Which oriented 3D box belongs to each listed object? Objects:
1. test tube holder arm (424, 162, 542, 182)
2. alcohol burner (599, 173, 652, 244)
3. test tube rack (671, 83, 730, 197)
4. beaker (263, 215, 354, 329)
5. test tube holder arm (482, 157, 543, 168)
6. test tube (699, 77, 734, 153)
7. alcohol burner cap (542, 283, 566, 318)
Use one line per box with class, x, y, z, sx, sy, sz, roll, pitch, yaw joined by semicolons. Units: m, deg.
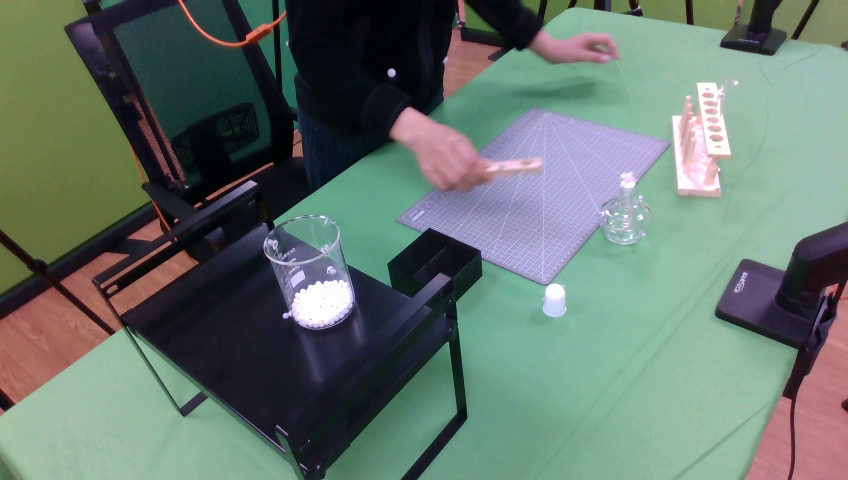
test tube holder arm;0.082;-0.099;0.878;0.177;0.015;0.013;-4;47;22
alcohol burner;0.307;-0.052;0.920;0.078;0.119;0.077;-6;42;5
test tube rack;0.482;-0.184;1.067;0.066;0.085;0.242;5;42;15
beaker;-0.112;0.034;0.616;0.073;0.101;0.084;13;44;23
test tube holder arm;0.125;-0.106;0.864;0.087;0.015;0.010;-3;48;22
test tube;0.490;-0.207;1.016;0.017;0.151;0.017;-2;48;3
alcohol burner cap;0.181;0.081;0.839;0.034;0.048;0.033;-3;40;3
